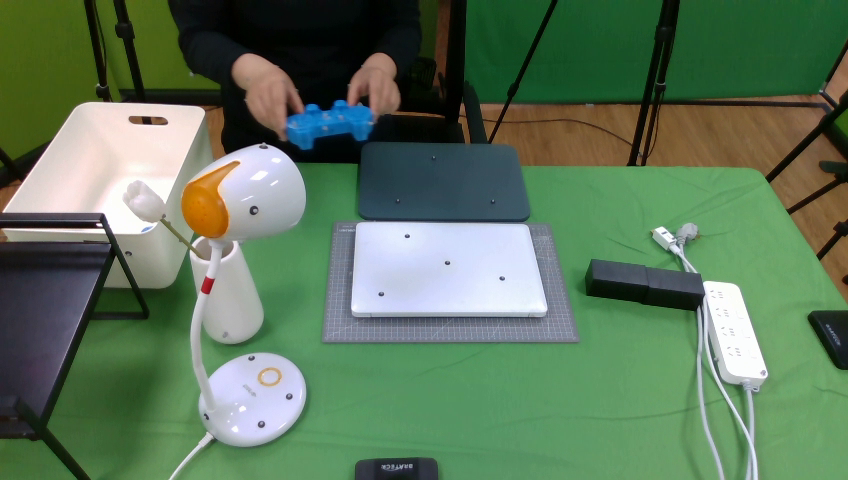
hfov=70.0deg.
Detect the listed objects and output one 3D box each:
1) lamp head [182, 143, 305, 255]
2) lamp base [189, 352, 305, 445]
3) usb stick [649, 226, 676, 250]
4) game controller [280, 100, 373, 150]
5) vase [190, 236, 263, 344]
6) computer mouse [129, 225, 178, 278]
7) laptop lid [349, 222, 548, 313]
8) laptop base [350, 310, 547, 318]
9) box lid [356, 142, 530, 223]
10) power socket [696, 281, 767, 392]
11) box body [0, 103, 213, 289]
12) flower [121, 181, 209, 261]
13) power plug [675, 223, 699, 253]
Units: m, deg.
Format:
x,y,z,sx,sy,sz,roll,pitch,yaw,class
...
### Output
x,y,z,sx,sy,sz,roll,pitch,yaw,class
-0.216,-0.044,0.697,0.112,0.113,0.123,23,31,17,lamp head
-0.268,0.196,0.876,0.160,0.181,0.179,25,52,20,lamp base
0.485,-0.008,1.237,0.021,0.027,0.059,-22,44,-13,usb stick
-0.162,-0.201,1.020,0.155,0.052,0.096,-12,44,-12,game controller
-0.317,0.081,0.971,0.098,0.201,0.097,3,47,-3,vase
-0.500,0.018,1.121,0.063,0.041,0.116,4,53,-5,computer mouse
0.042,0.046,1.142,0.357,0.013,0.240,2,44,-3,laptop lid
0.041,0.056,1.149,0.355,0.023,0.234,0,43,-4,laptop base
0.040,-0.132,1.339,0.372,0.015,0.261,0,46,-4,box lid
0.543,0.161,1.077,0.072,0.033,0.225,5,46,2,power socket
-0.563,-0.087,1.139,0.254,0.161,0.361,2,46,-3,box body
-0.329,0.029,0.905,0.038,0.364,0.044,-22,58,-1,flower
0.537,0.000,1.244,0.053,0.035,0.072,19,82,-17,power plug
